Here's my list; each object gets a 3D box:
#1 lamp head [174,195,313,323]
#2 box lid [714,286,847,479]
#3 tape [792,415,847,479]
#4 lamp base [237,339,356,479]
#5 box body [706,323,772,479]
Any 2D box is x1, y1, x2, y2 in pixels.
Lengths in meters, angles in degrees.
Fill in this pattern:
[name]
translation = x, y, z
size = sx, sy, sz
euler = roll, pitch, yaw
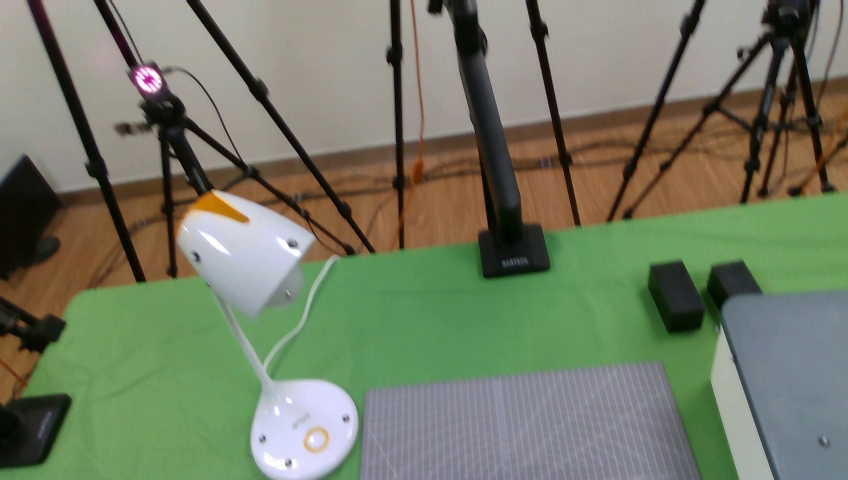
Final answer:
[lamp head]
translation = -0.197, 0.013, 0.638
size = 0.123, 0.113, 0.112
euler = 33, 53, -4
[box lid]
translation = 0.488, 0.191, 0.640
size = 0.263, 0.015, 0.368
euler = -5, 45, 8
[tape]
translation = 0.512, 0.272, 0.731
size = 0.117, 0.053, 0.115
euler = -6, 44, 6
[lamp base]
translation = -0.202, 0.223, 0.852
size = 0.177, 0.182, 0.160
euler = 23, 54, 34
[box body]
translation = 0.499, 0.245, 0.690
size = 0.254, 0.162, 0.360
euler = -5, 44, 8
